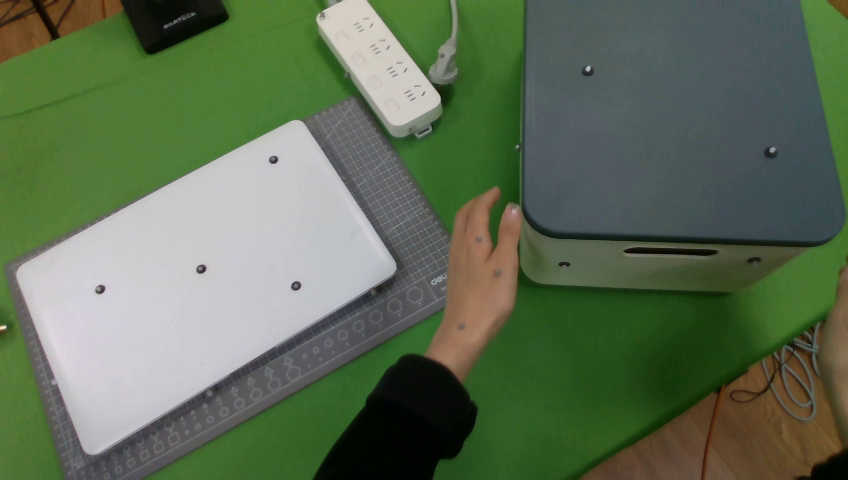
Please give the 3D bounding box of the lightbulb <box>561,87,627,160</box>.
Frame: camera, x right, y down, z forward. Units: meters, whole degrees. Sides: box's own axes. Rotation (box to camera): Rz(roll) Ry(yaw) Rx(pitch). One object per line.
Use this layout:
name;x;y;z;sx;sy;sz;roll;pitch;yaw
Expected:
lightbulb;0.183;-0.134;0.674;0.059;0.060;0.106;-19;53;-5

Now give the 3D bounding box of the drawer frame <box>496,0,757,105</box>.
drawer frame;0.206;-0.176;0.629;0.203;0.212;0.082;35;84;-18

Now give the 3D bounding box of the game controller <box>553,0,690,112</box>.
game controller;0.214;-0.220;0.655;0.097;0.052;0.154;-22;66;-5

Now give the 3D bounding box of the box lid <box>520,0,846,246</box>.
box lid;0.223;-0.168;0.565;0.263;0.015;0.368;2;67;4

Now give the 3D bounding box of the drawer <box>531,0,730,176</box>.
drawer;0.220;-0.177;0.677;0.194;0.074;0.210;0;72;7

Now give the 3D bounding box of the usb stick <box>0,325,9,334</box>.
usb stick;-0.472;0.093;0.637;0.059;0.021;0.027;-4;66;-35

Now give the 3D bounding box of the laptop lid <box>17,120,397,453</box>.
laptop lid;-0.234;0.032;0.649;0.357;0.013;0.240;-30;70;-9

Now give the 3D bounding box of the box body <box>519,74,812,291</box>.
box body;0.227;-0.136;0.631;0.254;0.161;0.361;2;66;4

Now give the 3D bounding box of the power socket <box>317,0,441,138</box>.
power socket;-0.059;-0.218;0.755;0.072;0.033;0.225;-30;67;-11

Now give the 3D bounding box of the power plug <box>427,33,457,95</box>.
power plug;0.032;-0.215;0.745;0.035;0.053;0.072;27;53;19

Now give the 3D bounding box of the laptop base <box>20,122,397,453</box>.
laptop base;-0.235;0.035;0.661;0.354;0.023;0.234;-31;71;-10
